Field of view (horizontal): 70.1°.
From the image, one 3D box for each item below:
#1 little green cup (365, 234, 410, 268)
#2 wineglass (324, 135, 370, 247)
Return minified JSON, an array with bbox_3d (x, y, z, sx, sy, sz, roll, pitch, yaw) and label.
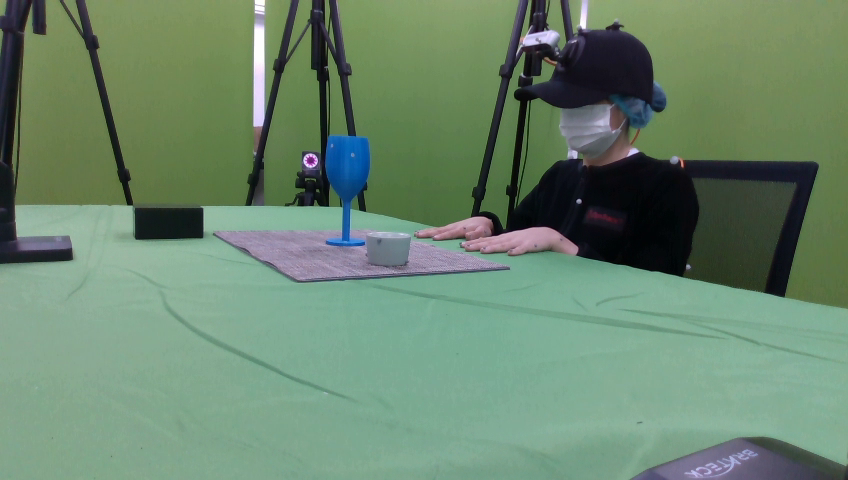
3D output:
[{"bbox_3d":[-0.048,0.014,0.802,0.061,0.038,0.061,2,8,0],"label":"little green cup"},{"bbox_3d":[-0.124,-0.078,0.965,0.074,0.172,0.073,3,7,0],"label":"wineglass"}]
